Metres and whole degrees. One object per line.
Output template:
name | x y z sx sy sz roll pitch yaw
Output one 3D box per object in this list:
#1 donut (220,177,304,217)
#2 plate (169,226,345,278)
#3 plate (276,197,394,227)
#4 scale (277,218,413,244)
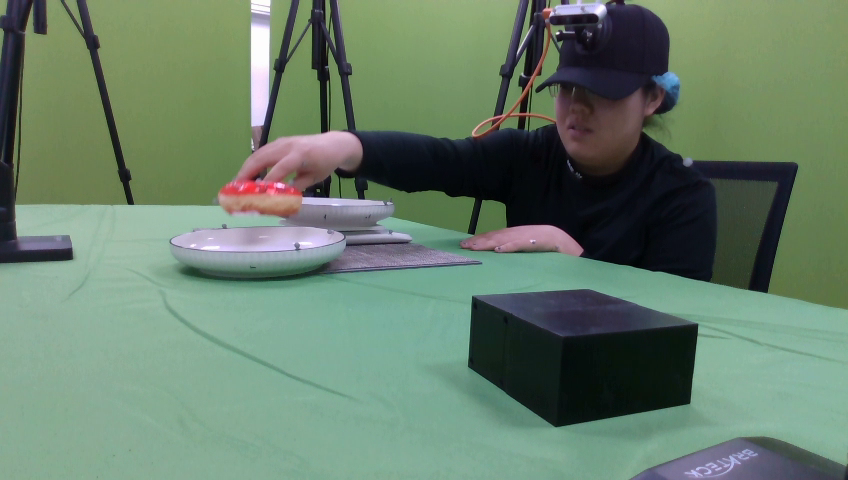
donut | -0.197 -0.051 0.737 0.099 0.048 0.099 2 4 0
plate | -0.202 0.014 0.748 0.209 0.038 0.209 1 9 0
plate | -0.152 -0.047 0.998 0.208 0.039 0.207 2 6 0
scale | -0.134 -0.016 1.015 0.202 0.031 0.148 -1 9 -33
